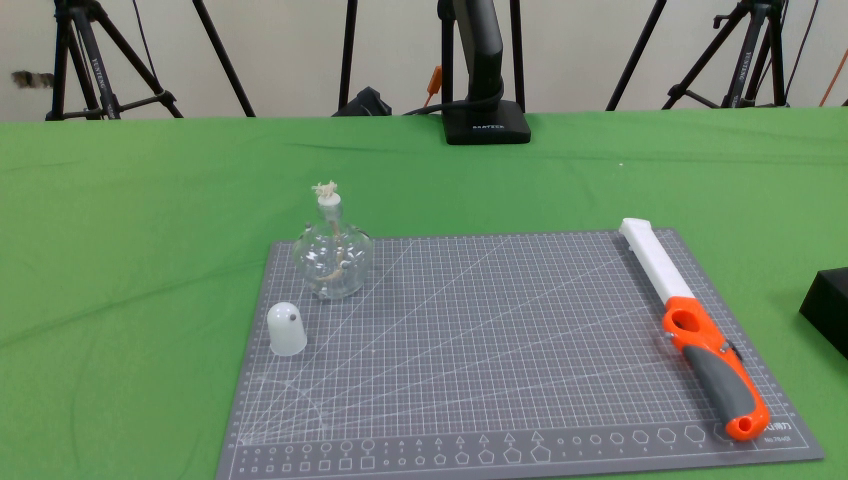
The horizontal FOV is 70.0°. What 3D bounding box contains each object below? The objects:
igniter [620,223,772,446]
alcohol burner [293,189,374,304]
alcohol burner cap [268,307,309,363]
[{"bbox_3d":[0.239,0.069,0.556,0.057,0.025,0.273,7,36,-9],"label":"igniter"},{"bbox_3d":[-0.086,0.002,0.572,0.078,0.120,0.077,2,38,-1],"label":"alcohol burner"},{"bbox_3d":[-0.119,0.079,0.526,0.034,0.048,0.033,1,36,0],"label":"alcohol burner cap"}]
